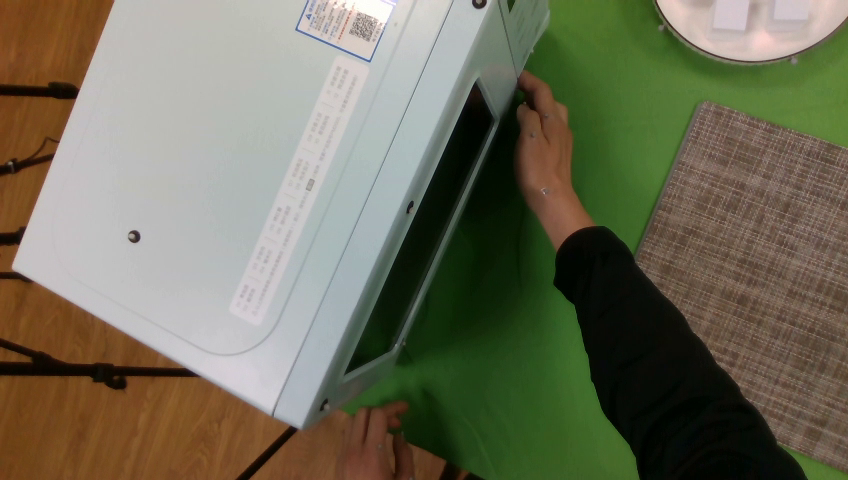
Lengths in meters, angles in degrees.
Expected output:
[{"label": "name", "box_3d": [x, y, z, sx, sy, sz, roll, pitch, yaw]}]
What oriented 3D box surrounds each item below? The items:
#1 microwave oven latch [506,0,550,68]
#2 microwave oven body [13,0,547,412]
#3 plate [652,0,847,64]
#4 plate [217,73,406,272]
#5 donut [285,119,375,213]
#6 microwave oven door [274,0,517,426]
[{"label": "microwave oven latch", "box_3d": [0.102, -0.220, 0.644, 0.030, 0.029, 0.079, 37, 98, 10]}, {"label": "microwave oven body", "box_3d": [-0.120, -0.118, 0.594, 0.325, 0.261, 0.442, 25, 95, 11]}, {"label": "plate", "box_3d": [0.334, -0.279, 0.613, 0.207, 0.039, 0.207, 0, 90, 12]}, {"label": "plate", "box_3d": [-0.118, -0.070, 0.647, 0.209, 0.038, 0.209, 0, 89, 11]}, {"label": "donut", "box_3d": [-0.098, -0.077, 0.633, 0.099, 0.048, 0.099, 3, 100, 17]}, {"label": "microwave oven door", "box_3d": [-0.011, -0.019, 0.564, 0.039, 0.244, 0.356, 25, 95, 12]}]
